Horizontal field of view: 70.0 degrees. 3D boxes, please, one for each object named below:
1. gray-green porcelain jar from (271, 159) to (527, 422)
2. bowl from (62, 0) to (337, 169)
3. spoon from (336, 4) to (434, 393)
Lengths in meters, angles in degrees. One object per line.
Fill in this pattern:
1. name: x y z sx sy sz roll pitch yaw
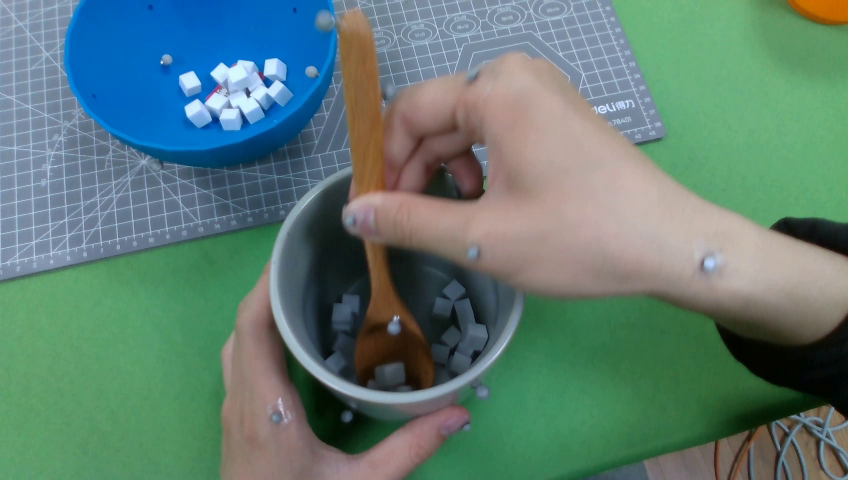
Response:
1. gray-green porcelain jar: -0.010 0.035 0.303 0.106 0.127 0.105 0 70 0
2. bowl: -0.124 -0.101 0.372 0.151 0.077 0.150 0 70 -1
3. spoon: -0.019 0.003 0.254 0.041 0.195 0.021 7 40 12
